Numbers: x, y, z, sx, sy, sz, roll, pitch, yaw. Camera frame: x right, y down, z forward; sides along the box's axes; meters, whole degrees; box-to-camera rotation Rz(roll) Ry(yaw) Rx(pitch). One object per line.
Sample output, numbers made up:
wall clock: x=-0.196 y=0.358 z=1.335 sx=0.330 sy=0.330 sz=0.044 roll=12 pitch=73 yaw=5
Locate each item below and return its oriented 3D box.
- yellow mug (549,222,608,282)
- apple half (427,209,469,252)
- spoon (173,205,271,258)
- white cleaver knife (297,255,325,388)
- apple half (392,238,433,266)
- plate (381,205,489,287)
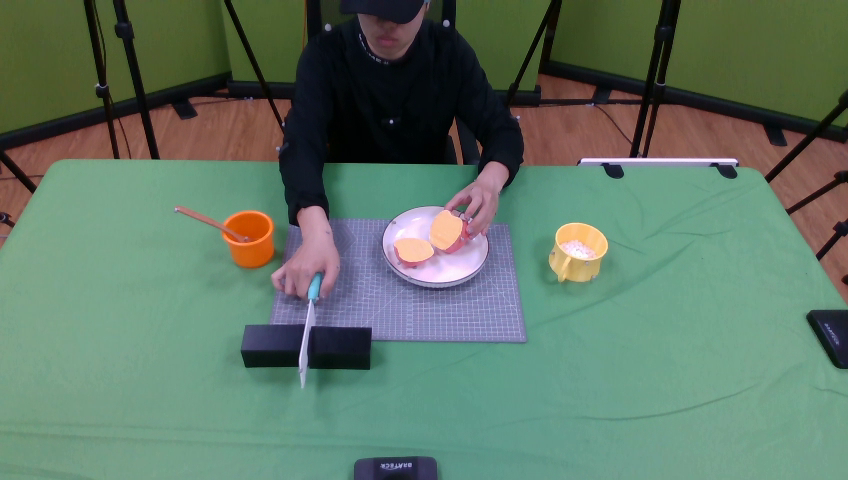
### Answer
yellow mug: x=0.287 y=0.031 z=1.159 sx=0.099 sy=0.064 sz=0.130 roll=27 pitch=51 yaw=21
apple half: x=0.051 y=-0.014 z=1.168 sx=0.080 sy=0.053 sz=0.074 roll=29 pitch=93 yaw=40
spoon: x=-0.362 y=-0.017 z=1.098 sx=0.021 sy=0.195 sz=0.041 roll=-33 pitch=42 yaw=27
white cleaver knife: x=-0.195 y=0.126 z=1.023 sx=0.021 sy=0.066 sz=0.284 roll=4 pitch=36 yaw=-4
apple half: x=-0.023 y=0.028 z=1.147 sx=0.081 sy=0.033 sz=0.081 roll=8 pitch=34 yaw=-5
plate: x=0.021 y=0.015 z=1.170 sx=0.209 sy=0.038 sz=0.208 roll=2 pitch=46 yaw=-2
